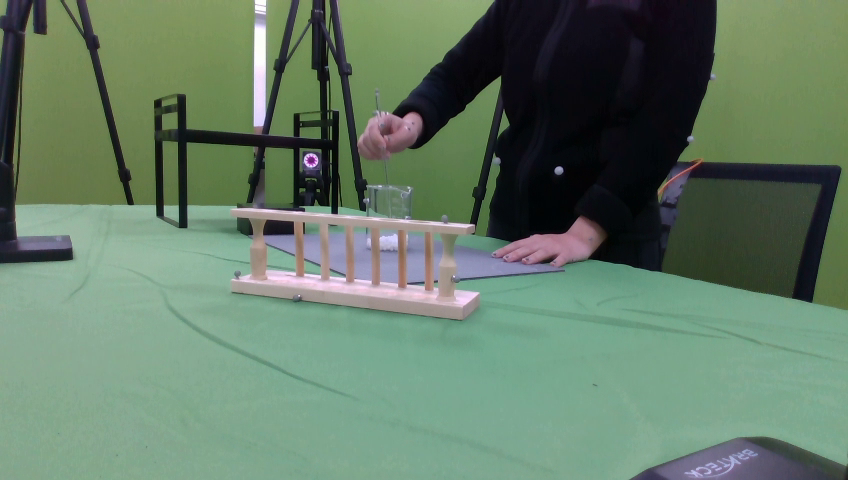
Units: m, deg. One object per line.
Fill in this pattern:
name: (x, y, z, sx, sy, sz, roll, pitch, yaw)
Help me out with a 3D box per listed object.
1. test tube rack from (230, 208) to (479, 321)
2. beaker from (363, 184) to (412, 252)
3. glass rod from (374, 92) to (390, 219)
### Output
test tube rack: (-0.069, 0.017, 0.598, 0.242, 0.085, 0.067, 5, 8, 18)
beaker: (-0.055, -0.034, 0.935, 0.074, 0.100, 0.083, -5, 11, -45)
glass rod: (-0.064, -0.127, 0.928, 0.008, 0.199, 0.008, -5, 3, 1)
